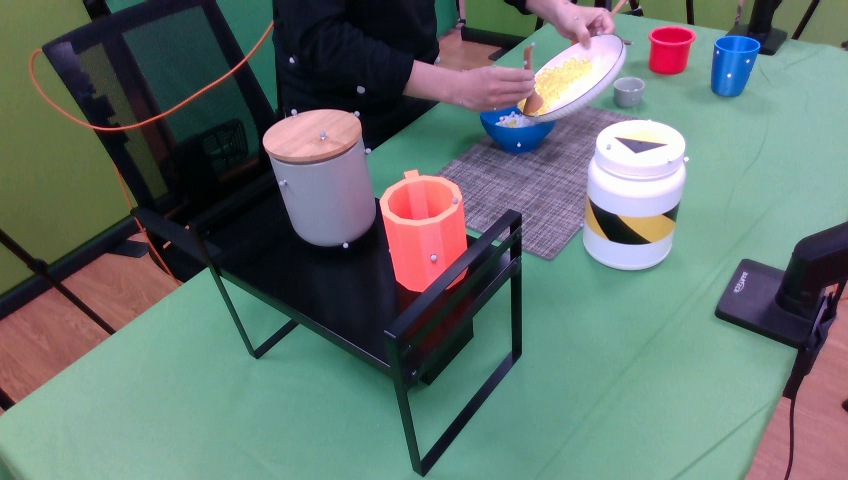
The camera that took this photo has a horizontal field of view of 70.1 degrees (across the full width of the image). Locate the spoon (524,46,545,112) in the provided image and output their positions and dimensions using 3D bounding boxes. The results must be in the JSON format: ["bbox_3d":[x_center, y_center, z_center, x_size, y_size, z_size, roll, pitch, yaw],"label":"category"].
[{"bbox_3d":[0.181,-0.269,1.025,0.041,0.195,0.021,-24,65,5],"label":"spoon"}]

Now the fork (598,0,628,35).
[{"bbox_3d":[0.413,-0.481,1.377,0.207,0.019,0.028,-56,43,12],"label":"fork"}]

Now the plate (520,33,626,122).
[{"bbox_3d":[0.270,-0.285,1.089,0.208,0.038,0.208,-32,29,22],"label":"plate"}]

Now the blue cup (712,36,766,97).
[{"bbox_3d":[0.627,-0.350,1.227,0.092,0.100,0.092,-4,39,4],"label":"blue cup"}]

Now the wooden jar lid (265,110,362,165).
[{"bbox_3d":[-0.122,-0.112,0.673,0.108,0.021,0.108,-4,37,4],"label":"wooden jar lid"}]

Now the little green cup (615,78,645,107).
[{"bbox_3d":[0.426,-0.306,1.257,0.061,0.039,0.061,-4,40,4],"label":"little green cup"}]

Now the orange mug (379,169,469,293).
[{"bbox_3d":[-0.002,-0.019,0.665,0.083,0.101,0.125,-12,45,-4],"label":"orange mug"}]

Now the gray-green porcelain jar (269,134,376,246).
[{"bbox_3d":[-0.115,-0.064,0.715,0.106,0.127,0.105,-4,40,4],"label":"gray-green porcelain jar"}]

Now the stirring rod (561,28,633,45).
[{"bbox_3d":[0.382,-0.454,1.345,0.174,0.006,0.014,27,52,34],"label":"stirring rod"}]

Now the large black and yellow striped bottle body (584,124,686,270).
[{"bbox_3d":[0.304,-0.063,0.880,0.131,0.185,0.130,-5,41,5],"label":"large black and yellow striped bottle body"}]

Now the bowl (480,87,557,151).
[{"bbox_3d":[0.185,-0.223,1.160,0.151,0.077,0.150,-6,40,6],"label":"bowl"}]

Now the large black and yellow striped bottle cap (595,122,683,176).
[{"bbox_3d":[0.293,-0.126,0.826,0.115,0.019,0.114,-3,40,3],"label":"large black and yellow striped bottle cap"}]
